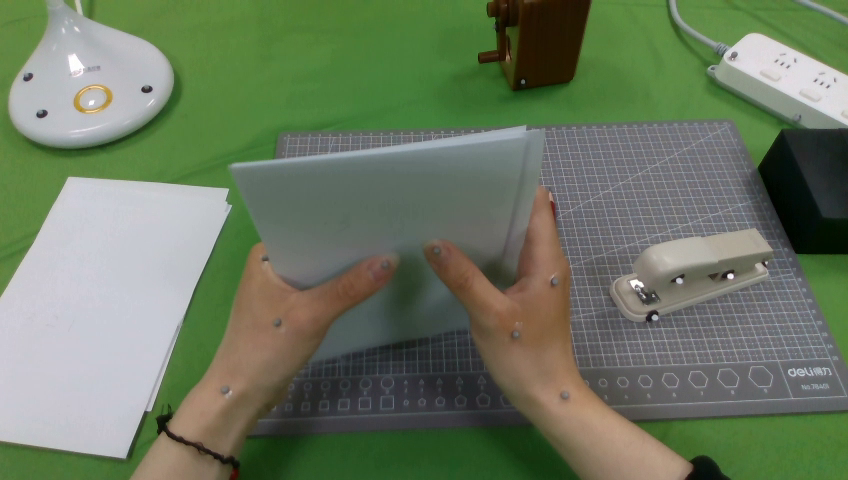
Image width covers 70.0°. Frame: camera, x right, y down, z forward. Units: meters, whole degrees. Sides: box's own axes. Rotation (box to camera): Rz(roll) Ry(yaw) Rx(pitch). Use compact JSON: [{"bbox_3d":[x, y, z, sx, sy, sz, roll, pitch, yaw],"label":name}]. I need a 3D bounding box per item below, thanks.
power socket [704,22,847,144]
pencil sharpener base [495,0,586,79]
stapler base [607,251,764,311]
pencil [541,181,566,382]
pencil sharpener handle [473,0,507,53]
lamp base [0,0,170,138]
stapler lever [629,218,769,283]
[{"bbox_3d":[0.393,-0.147,0.598,0.072,0.033,0.225,-38,63,-24],"label":"power socket"},{"bbox_3d":[0.110,-0.223,0.606,0.077,0.108,0.060,-12,56,-7],"label":"pencil sharpener base"},{"bbox_3d":[0.212,0.019,0.486,0.131,0.024,0.041,-16,58,-12],"label":"stapler base"},{"bbox_3d":[0.103,0.024,0.493,0.012,0.012,0.192,2,54,2],"label":"pencil"},{"bbox_3d":[0.062,-0.216,0.585,0.031,0.068,0.035,-12,34,-7],"label":"pencil sharpener handle"},{"bbox_3d":[-0.349,-0.215,0.557,0.161,0.182,0.177,-29,57,-18],"label":"lamp base"},{"bbox_3d":[0.213,0.004,0.466,0.118,0.040,0.026,-16,57,-12],"label":"stapler lever"}]
